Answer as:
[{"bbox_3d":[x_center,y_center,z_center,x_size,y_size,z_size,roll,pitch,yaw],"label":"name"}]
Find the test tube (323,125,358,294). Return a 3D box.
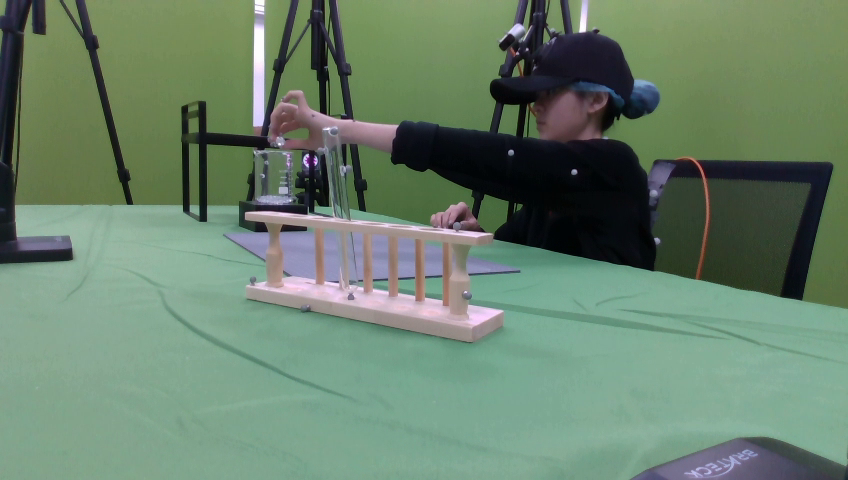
[{"bbox_3d":[-0.073,-0.026,0.533,0.017,0.150,0.017,-5,9,1],"label":"test tube"}]

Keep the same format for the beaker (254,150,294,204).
[{"bbox_3d":[-0.289,-0.120,1.151,0.073,0.100,0.084,8,9,33],"label":"beaker"}]

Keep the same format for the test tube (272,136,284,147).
[{"bbox_3d":[-0.255,-0.171,1.053,0.017,0.017,0.150,1,8,-16],"label":"test tube"}]

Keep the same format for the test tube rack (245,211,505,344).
[{"bbox_3d":[-0.049,0.024,0.547,0.241,0.085,0.067,7,8,29],"label":"test tube rack"}]
